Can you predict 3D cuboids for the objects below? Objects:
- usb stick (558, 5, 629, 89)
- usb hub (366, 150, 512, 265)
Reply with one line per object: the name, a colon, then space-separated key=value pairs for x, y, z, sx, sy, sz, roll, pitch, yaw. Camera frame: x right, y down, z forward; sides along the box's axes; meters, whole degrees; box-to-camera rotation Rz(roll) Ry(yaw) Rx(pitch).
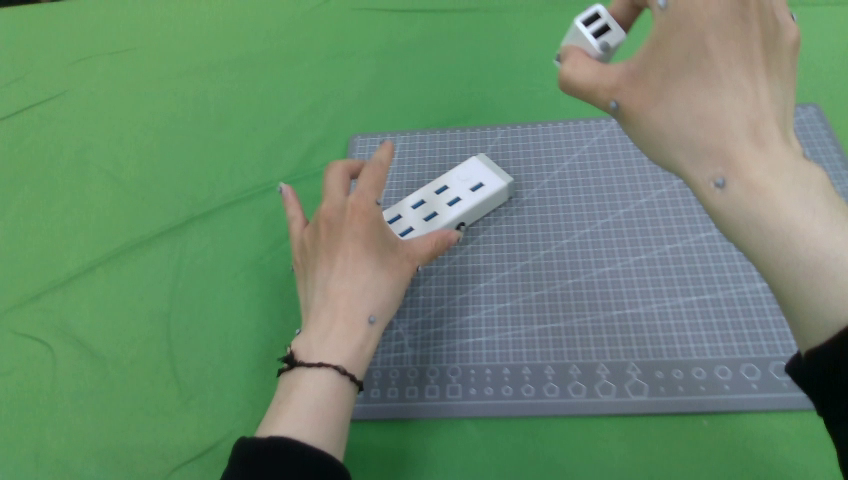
usb stick: x=0.099 y=-0.112 z=0.364 sx=0.021 sy=0.059 sz=0.027 roll=-37 pitch=81 yaw=-8
usb hub: x=0.014 y=-0.031 z=0.530 sx=0.125 sy=0.025 sz=0.049 roll=-32 pitch=57 yaw=-16
